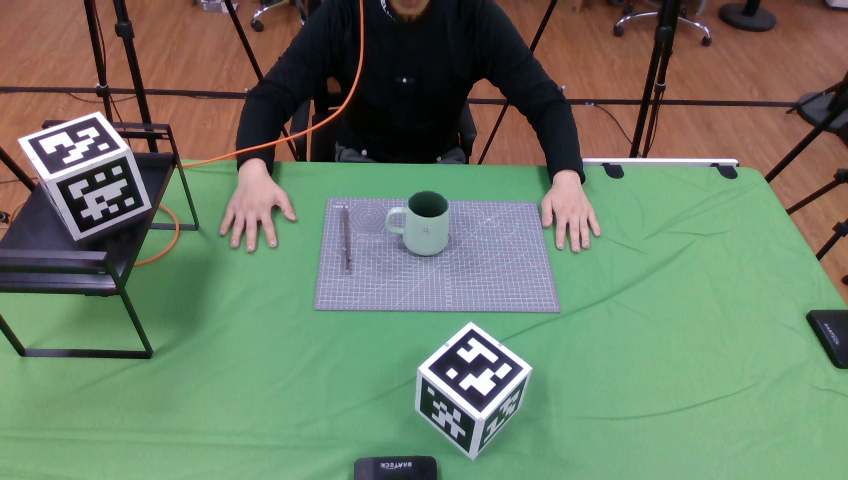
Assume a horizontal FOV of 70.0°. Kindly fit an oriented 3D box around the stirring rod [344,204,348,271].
[{"bbox_3d":[-0.154,-0.007,1.192,0.006,0.014,0.175,-6,47,-2],"label":"stirring rod"}]

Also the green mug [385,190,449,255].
[{"bbox_3d":[-0.013,-0.033,1.166,0.125,0.105,0.092,2,46,-2],"label":"green mug"}]
